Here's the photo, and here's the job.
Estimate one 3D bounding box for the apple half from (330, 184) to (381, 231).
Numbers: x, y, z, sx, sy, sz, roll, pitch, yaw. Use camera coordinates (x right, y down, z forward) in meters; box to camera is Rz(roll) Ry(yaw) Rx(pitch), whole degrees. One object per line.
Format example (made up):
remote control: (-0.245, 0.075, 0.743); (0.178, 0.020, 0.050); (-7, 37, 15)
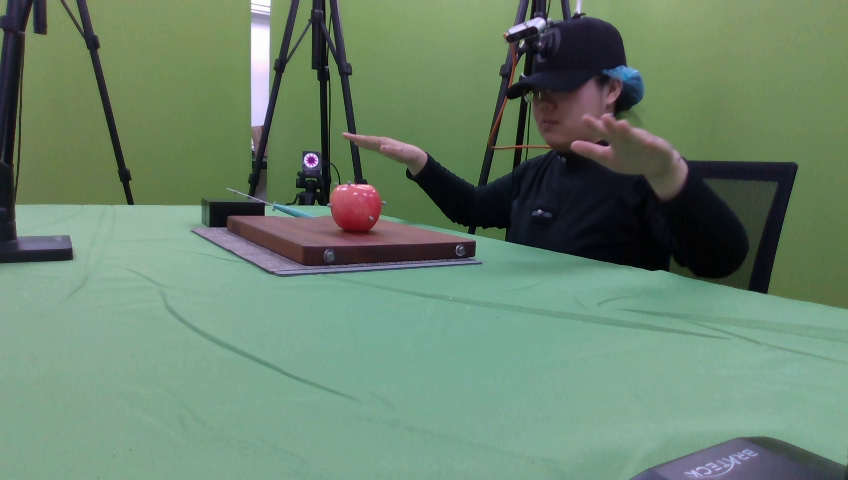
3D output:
apple half: (-0.100, -0.049, 0.939); (0.081, 0.074, 0.053); (1, 11, -36)

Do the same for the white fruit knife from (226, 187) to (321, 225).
white fruit knife: (-0.298, -0.068, 1.213); (0.208, 0.016, 0.027); (20, -3, -31)

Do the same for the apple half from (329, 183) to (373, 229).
apple half: (-0.123, -0.056, 0.970); (0.082, 0.081, 0.032); (-3, 13, -36)
